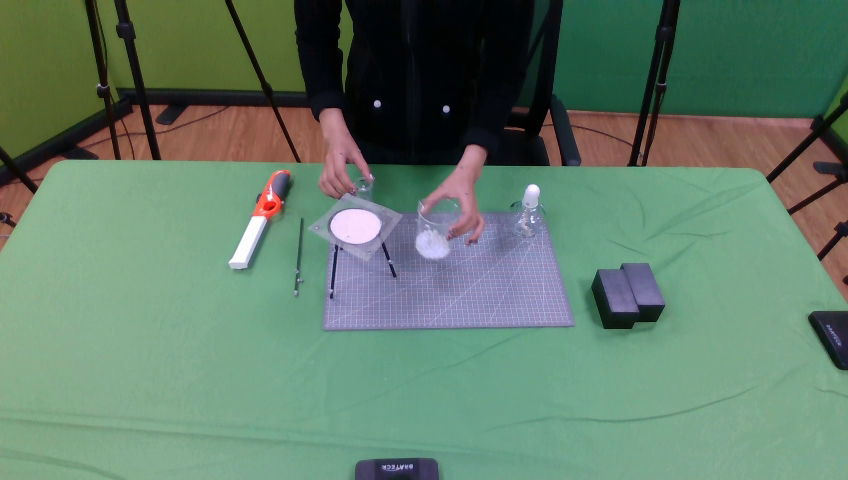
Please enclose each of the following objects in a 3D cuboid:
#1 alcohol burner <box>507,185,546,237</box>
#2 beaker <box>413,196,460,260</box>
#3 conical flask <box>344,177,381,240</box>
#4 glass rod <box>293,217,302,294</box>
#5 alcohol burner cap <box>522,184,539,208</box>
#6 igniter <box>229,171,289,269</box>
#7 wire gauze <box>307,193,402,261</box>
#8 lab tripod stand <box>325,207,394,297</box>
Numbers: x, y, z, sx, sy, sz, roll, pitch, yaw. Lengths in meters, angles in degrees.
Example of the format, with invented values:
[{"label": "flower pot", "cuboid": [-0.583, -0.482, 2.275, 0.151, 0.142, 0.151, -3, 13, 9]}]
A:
[{"label": "alcohol burner", "cuboid": [0.208, -0.063, 1.210, 0.078, 0.119, 0.077, 3, 44, -3]}, {"label": "beaker", "cuboid": [0.016, -0.021, 1.095, 0.083, 0.101, 0.074, 34, 50, 23]}, {"label": "conical flask", "cuboid": [-0.122, -0.065, 1.180, 0.075, 0.122, 0.075, 3, 46, -2]}, {"label": "glass rod", "cuboid": [-0.242, 0.025, 1.167, 0.008, 0.008, 0.198, -2, 47, -5]}, {"label": "alcohol burner cap", "cuboid": [0.210, -0.087, 1.183, 0.034, 0.048, 0.033, 0, 53, 0]}, {"label": "igniter", "cuboid": [-0.328, -0.049, 1.218, 0.057, 0.025, 0.275, 1, 45, 11]}, {"label": "wire gauze", "cuboid": [-0.118, -0.028, 1.043, 0.125, 0.011, 0.121, 24, 47, 17]}, {"label": "lab tripod stand", "cuboid": [-0.124, 0.017, 1.092, 0.148, 0.132, 0.147, 3, 44, -3]}]
